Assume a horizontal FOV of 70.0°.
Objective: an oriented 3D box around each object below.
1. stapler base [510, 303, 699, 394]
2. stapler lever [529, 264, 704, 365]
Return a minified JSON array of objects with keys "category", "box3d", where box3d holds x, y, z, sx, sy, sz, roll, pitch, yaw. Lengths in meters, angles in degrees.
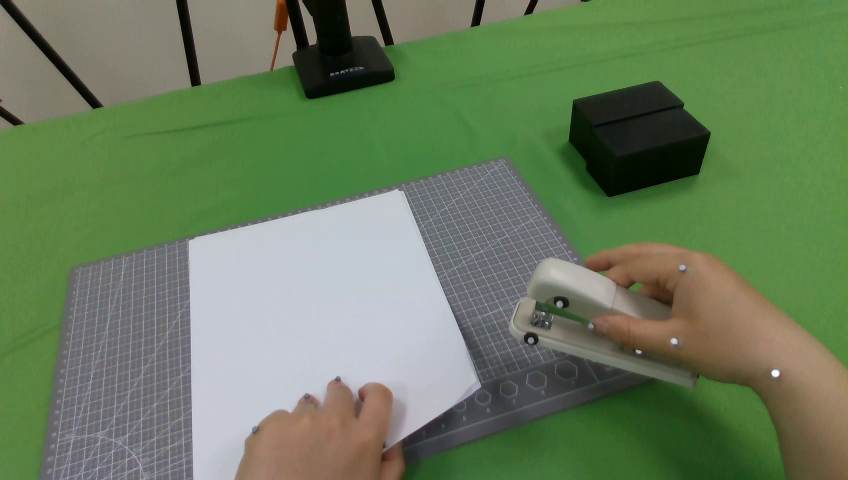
[{"category":"stapler base","box3d":[0.127,0.068,0.423,0.130,0.024,0.041,15,44,15]},{"category":"stapler lever","box3d":[0.129,0.048,0.406,0.117,0.040,0.026,15,44,15]}]
